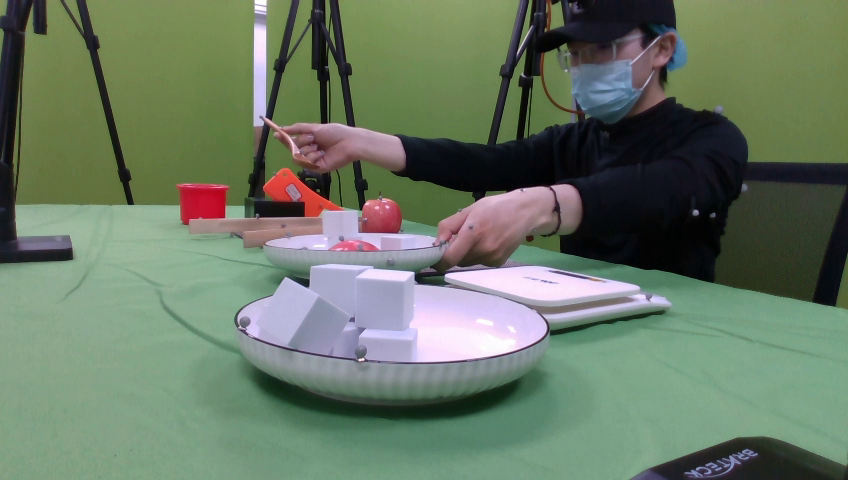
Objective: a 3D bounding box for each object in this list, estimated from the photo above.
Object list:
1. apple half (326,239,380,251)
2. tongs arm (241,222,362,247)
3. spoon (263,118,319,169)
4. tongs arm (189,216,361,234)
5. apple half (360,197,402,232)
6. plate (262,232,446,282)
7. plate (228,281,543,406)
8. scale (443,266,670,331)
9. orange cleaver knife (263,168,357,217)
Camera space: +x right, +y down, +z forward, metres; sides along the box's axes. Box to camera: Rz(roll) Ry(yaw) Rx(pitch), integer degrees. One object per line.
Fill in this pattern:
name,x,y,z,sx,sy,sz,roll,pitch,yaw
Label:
apple half,-0.078,0.015,0.676,0.081,0.033,0.081,-2,9,1
tongs arm,-0.159,-0.017,1.034,0.028,0.028,0.389,2,6,33
spoon,-0.232,-0.169,1.036,0.042,0.021,0.193,14,26,-46
tongs arm,-0.221,-0.028,1.088,0.387,0.026,0.050,-3,8,-43
apple half,-0.066,-0.033,1.014,0.053,0.074,0.081,10,6,21
plate,-0.079,0.018,0.698,0.209,0.038,0.209,0,6,0
plate,-0.025,0.067,0.413,0.208,0.039,0.207,3,7,0
scale,0.131,0.052,0.603,0.202,0.031,0.148,-3,9,-37
orange cleaver knife,-0.240,-0.078,1.294,0.212,0.077,0.012,32,-7,-26
